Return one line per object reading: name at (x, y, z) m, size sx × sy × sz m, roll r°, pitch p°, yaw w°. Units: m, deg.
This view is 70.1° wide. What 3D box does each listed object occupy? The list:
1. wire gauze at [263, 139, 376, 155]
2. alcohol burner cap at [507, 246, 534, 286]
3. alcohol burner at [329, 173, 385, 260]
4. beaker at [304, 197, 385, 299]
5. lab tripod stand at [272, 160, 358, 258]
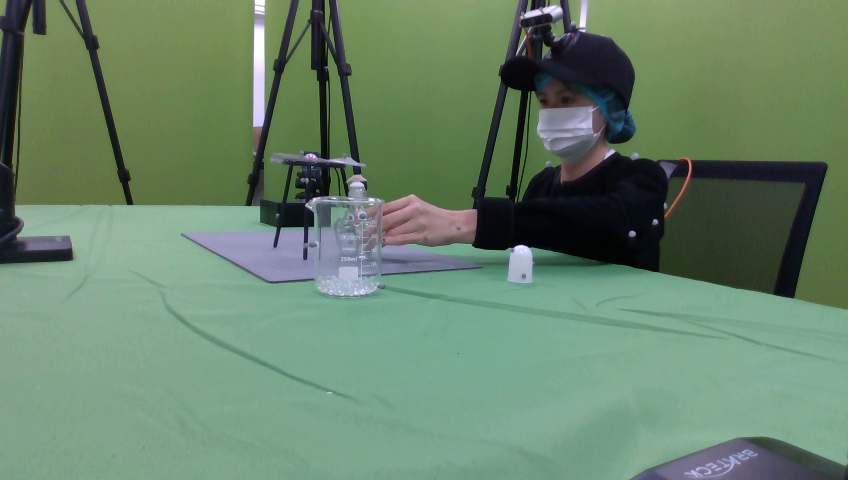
wire gauze at (-0.151, -0.130, 0.869) m, size 0.122 × 0.011 × 0.124 m, roll -8°, pitch 5°, yaw -35°
alcohol burner cap at (0.119, 0.032, 0.740) m, size 0.034 × 0.048 × 0.034 m, roll 1°, pitch 7°, yaw 0°
alcohol burner at (-0.093, -0.033, 0.839) m, size 0.078 × 0.119 × 0.078 m, roll -2°, pitch 6°, yaw 1°
beaker at (-0.083, 0.007, 0.629) m, size 0.084 × 0.100 × 0.073 m, roll -1°, pitch 7°, yaw -21°
lab tripod stand at (-0.159, -0.048, 0.876) m, size 0.148 × 0.131 × 0.148 m, roll 3°, pitch 5°, yaw 0°
